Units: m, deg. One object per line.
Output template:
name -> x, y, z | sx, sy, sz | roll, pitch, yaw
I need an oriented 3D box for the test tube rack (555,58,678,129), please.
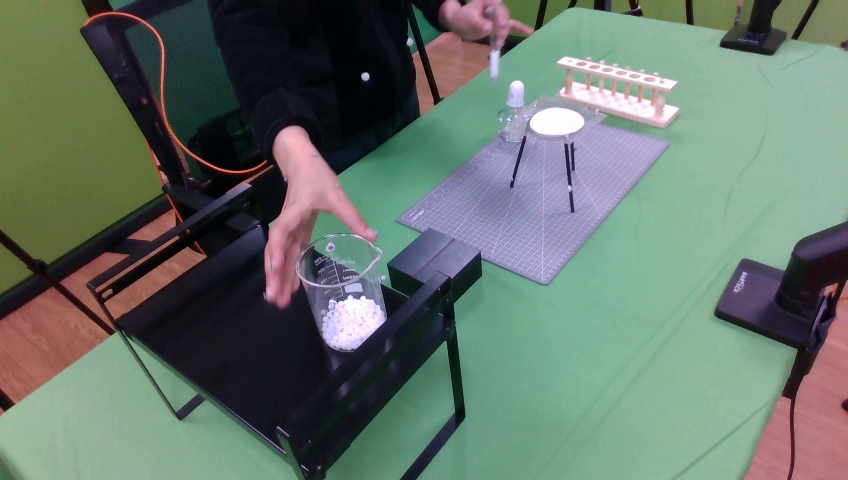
test tube rack -> 0.389, -0.307, 1.229 | 0.240, 0.085, 0.067 | 25, 51, 33

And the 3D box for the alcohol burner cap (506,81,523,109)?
alcohol burner cap -> 0.173, -0.277, 1.145 | 0.034, 0.048, 0.033 | 0, 39, 0

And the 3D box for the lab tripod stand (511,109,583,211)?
lab tripod stand -> 0.220, -0.138, 1.014 | 0.148, 0.132, 0.147 | -3, 41, 3

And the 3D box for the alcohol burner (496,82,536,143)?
alcohol burner -> 0.178, -0.250, 1.168 | 0.078, 0.119, 0.077 | -5, 42, 5

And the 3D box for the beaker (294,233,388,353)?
beaker -> -0.073, 0.053, 0.585 | 0.084, 0.101, 0.073 | -13, 41, -6

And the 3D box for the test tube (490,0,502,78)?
test tube -> 0.118, -0.339, 0.988 | 0.017, 0.151, 0.017 | -1, 35, 1

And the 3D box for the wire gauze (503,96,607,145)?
wire gauze -> 0.211, -0.192, 0.975 | 0.120, 0.011, 0.125 | 24, 49, 32
